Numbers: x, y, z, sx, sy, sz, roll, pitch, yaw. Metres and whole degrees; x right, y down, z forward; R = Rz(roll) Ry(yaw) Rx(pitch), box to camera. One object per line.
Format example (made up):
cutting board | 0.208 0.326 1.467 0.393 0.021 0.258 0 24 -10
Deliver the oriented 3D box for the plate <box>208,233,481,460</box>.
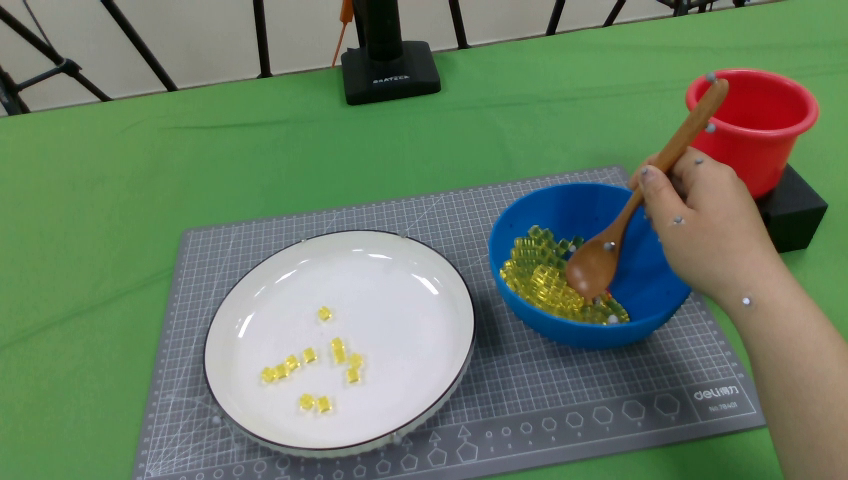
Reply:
plate | -0.059 0.078 0.476 0.207 0.039 0.205 -3 44 3

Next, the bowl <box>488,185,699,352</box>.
bowl | 0.125 0.034 0.471 0.151 0.077 0.150 -3 45 3

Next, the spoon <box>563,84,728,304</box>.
spoon | 0.154 -0.025 0.436 0.022 0.195 0.041 -4 46 -31
